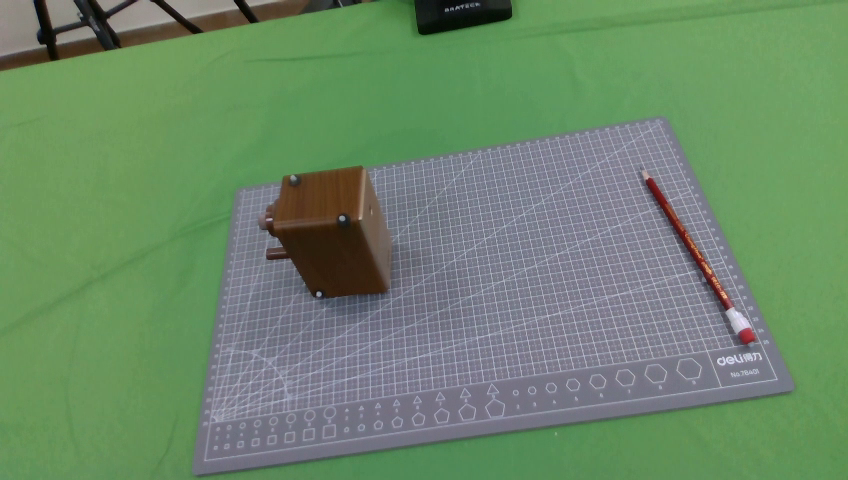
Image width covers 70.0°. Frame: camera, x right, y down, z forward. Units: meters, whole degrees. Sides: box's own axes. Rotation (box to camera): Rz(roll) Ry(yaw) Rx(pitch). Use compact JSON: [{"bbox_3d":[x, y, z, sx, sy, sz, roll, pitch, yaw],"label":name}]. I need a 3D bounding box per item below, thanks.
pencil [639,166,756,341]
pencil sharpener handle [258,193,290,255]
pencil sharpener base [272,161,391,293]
[{"bbox_3d":[0.224,0.002,0.511,0.012,0.012,0.192,-15,51,0],"label":"pencil"},{"bbox_3d":[-0.128,-0.009,0.509,0.030,0.068,0.035,-6,52,7],"label":"pencil sharpener handle"},{"bbox_3d":[-0.075,-0.007,0.513,0.076,0.108,0.061,-6,53,7],"label":"pencil sharpener base"}]
